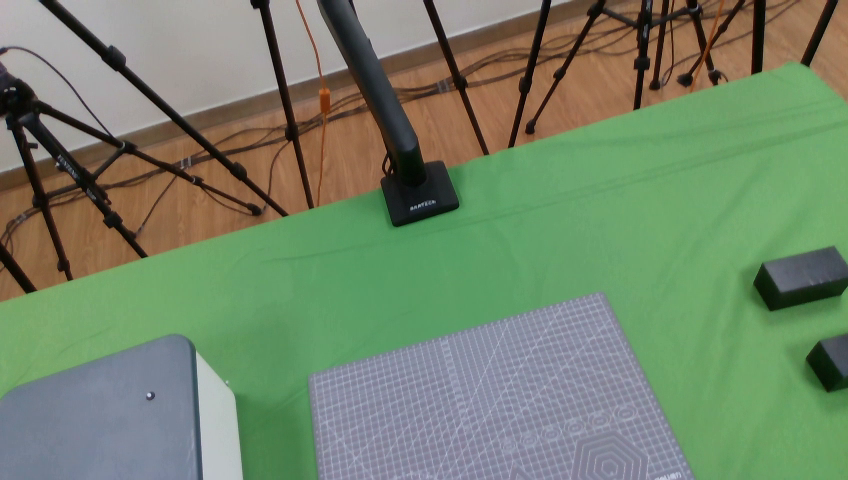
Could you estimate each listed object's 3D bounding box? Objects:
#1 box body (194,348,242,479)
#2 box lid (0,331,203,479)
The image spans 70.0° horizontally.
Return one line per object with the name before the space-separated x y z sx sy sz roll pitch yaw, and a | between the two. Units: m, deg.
box body | -0.359 0.333 0.724 0.254 0.162 0.360 -18 53 -2
box lid | -0.371 0.287 0.666 0.263 0.015 0.367 -19 54 -2
